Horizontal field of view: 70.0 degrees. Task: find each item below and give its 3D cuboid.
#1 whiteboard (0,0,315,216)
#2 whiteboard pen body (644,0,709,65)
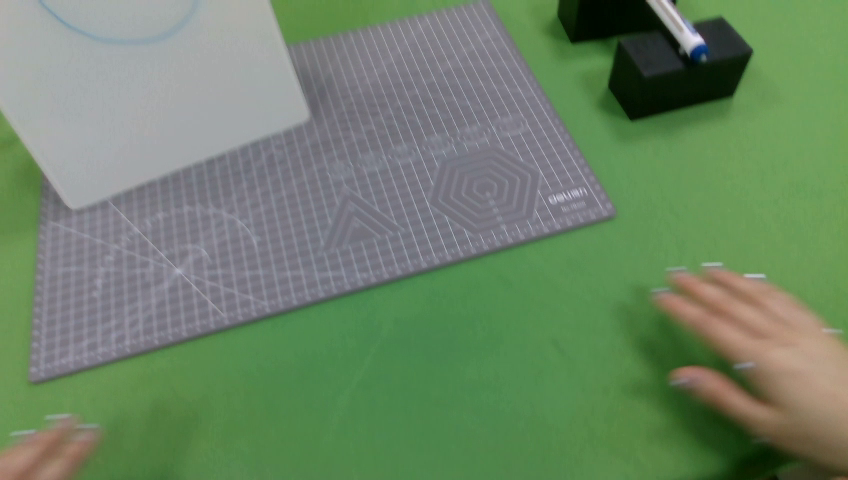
[{"bbox_3d":[-0.251,-0.215,0.486,0.217,0.308,0.142,-24,38,-12],"label":"whiteboard"},{"bbox_3d":[0.210,-0.203,0.533,0.017,0.017,0.139,-13,57,-6],"label":"whiteboard pen body"}]
